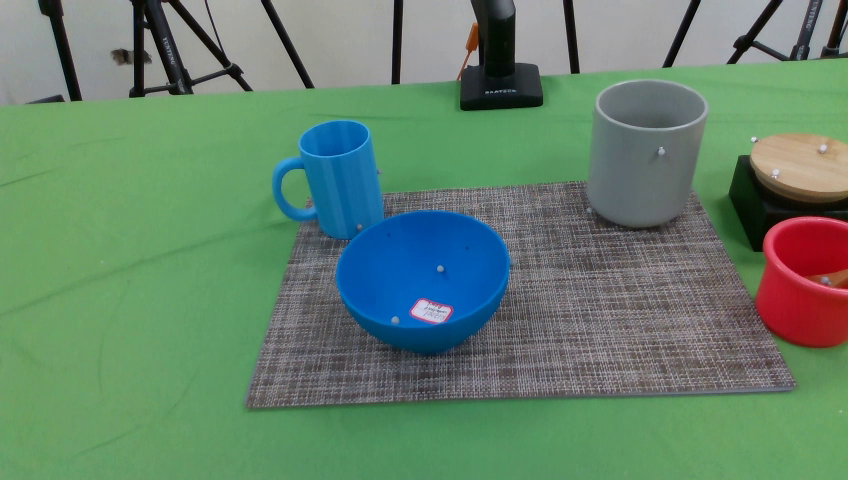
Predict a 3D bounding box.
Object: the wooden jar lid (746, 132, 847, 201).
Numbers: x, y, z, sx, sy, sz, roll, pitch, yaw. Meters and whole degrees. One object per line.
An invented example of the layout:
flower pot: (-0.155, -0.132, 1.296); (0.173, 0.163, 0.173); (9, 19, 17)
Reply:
wooden jar lid: (0.380, -0.073, 0.605); (0.108, 0.021, 0.107); (-4, 40, 4)

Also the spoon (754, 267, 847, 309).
spoon: (0.361, 0.020, 0.479); (0.022, 0.193, 0.041); (49, 48, -8)

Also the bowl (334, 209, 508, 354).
bowl: (0.000, 0.048, 0.540); (0.151, 0.077, 0.150); (-3, 40, 3)

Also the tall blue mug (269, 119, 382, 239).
tall blue mug: (-0.102, -0.058, 0.655); (0.107, 0.109, 0.077); (-34, 48, -28)

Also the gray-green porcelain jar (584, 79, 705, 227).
gray-green porcelain jar: (0.223, -0.086, 0.630); (0.106, 0.128, 0.105); (-4, 40, 4)
